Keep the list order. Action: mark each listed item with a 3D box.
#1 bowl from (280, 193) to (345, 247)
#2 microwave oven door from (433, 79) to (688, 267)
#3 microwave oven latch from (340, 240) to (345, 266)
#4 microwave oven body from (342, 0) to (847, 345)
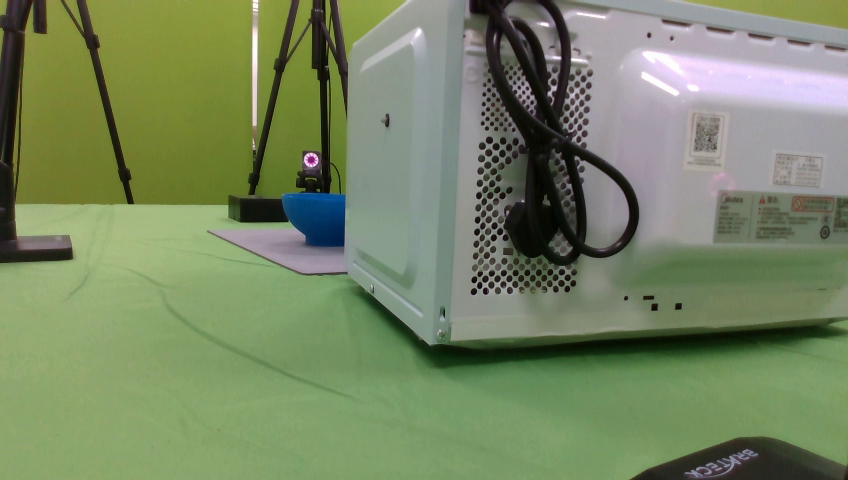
[{"bbox_3d":[-0.153,-0.032,0.970,0.151,0.077,0.151,3,7,0],"label":"bowl"},{"bbox_3d":[0.178,-0.102,0.867,0.354,0.243,0.039,7,9,30],"label":"microwave oven door"},{"bbox_3d":[-0.052,0.016,0.662,0.079,0.029,0.030,1,7,-19],"label":"microwave oven latch"},{"bbox_3d":[0.169,-0.060,0.573,0.444,0.260,0.324,1,7,-20],"label":"microwave oven body"}]
